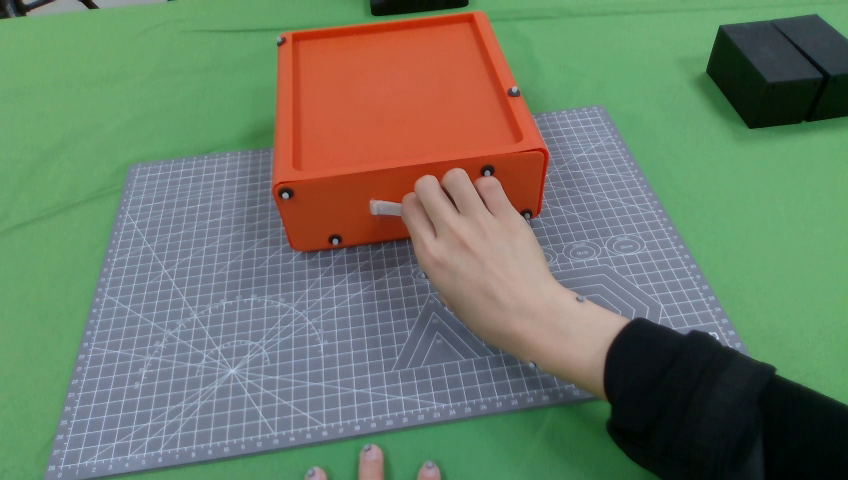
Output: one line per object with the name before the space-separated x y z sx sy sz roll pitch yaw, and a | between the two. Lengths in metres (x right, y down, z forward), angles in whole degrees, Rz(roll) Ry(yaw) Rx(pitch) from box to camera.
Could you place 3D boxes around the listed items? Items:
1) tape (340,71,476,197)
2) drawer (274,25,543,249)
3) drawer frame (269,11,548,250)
tape | -0.014 -0.093 0.522 0.117 0.053 0.115 -2 48 2
drawer | -0.022 -0.099 0.519 0.195 0.074 0.209 -8 47 -3
drawer frame | -0.022 -0.101 0.519 0.202 0.083 0.211 -9 47 -4
